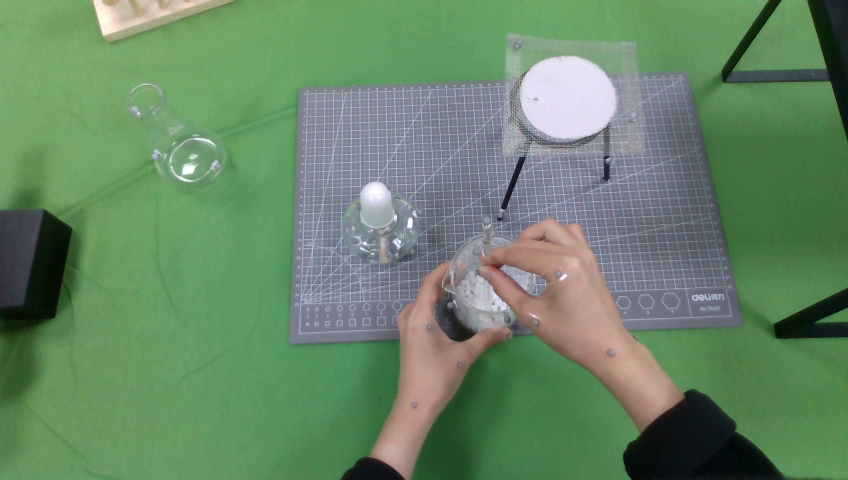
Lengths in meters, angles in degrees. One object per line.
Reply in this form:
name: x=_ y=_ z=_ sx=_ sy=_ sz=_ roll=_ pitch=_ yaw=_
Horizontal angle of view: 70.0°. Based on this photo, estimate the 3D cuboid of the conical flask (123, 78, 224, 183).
conical flask: x=-0.259 y=-0.115 z=0.617 sx=0.075 sy=0.122 sz=0.075 roll=0 pitch=69 yaw=1

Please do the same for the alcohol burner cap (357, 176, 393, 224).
alcohol burner cap: x=-0.046 y=-0.039 z=0.550 sx=0.034 sy=0.048 sz=0.033 roll=1 pitch=63 yaw=-2

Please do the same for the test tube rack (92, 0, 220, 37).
test tube rack: x=-0.284 y=-0.330 z=0.714 sx=0.242 sy=0.086 sz=0.066 roll=-22 pitch=71 yaw=-7

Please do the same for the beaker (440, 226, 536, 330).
beaker: x=0.057 y=0.041 z=0.566 sx=0.084 sy=0.101 sz=0.073 roll=-12 pitch=69 yaw=-3

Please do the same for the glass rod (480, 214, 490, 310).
glass rod: x=0.050 y=0.025 z=0.504 sx=0.008 sy=0.201 sz=0.008 roll=-2 pitch=66 yaw=5

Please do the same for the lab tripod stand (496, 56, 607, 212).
lab tripod stand: x=0.124 y=-0.106 z=0.599 sx=0.148 sy=0.132 sz=0.147 roll=0 pitch=68 yaw=0

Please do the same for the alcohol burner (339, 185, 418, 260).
alcohol burner: x=-0.045 y=-0.025 z=0.583 sx=0.078 sy=0.120 sz=0.077 roll=0 pitch=69 yaw=0

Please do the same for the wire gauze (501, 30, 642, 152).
wire gauze: x=0.130 y=-0.134 z=0.537 sx=0.121 sy=0.011 sz=0.124 roll=3 pitch=70 yaw=0
